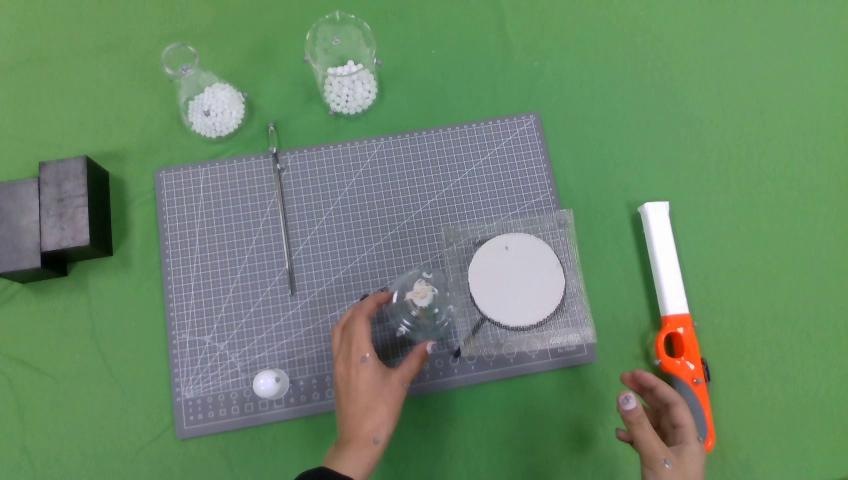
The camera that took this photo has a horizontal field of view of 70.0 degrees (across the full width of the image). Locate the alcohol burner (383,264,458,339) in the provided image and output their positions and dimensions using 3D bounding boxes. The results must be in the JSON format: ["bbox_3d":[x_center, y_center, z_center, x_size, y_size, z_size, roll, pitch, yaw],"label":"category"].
[{"bbox_3d":[-0.004,0.060,0.611,0.078,0.119,0.077,0,78,-1],"label":"alcohol burner"}]

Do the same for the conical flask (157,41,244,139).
[{"bbox_3d":[-0.246,-0.165,0.654,0.075,0.122,0.075,0,76,-1],"label":"conical flask"}]

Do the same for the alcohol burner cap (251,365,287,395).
[{"bbox_3d":[-0.161,0.144,0.623,0.034,0.048,0.033,1,76,-2],"label":"alcohol burner cap"}]

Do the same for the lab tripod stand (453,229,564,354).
[{"bbox_3d":[0.079,0.053,0.605,0.148,0.132,0.147,0,78,-2],"label":"lab tripod stand"}]

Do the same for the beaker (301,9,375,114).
[{"bbox_3d":[-0.092,-0.195,0.679,0.074,0.100,0.083,-7,76,-4],"label":"beaker"}]

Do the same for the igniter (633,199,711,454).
[{"bbox_3d":[0.269,0.088,0.661,0.057,0.025,0.275,-3,77,-14],"label":"igniter"}]

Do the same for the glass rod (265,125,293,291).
[{"bbox_3d":[-0.163,-0.039,0.682,0.008,0.008,0.198,-10,77,-4],"label":"glass rod"}]

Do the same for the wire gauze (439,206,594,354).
[{"bbox_3d":[0.082,0.035,0.540,0.125,0.011,0.121,-7,78,-3],"label":"wire gauze"}]
